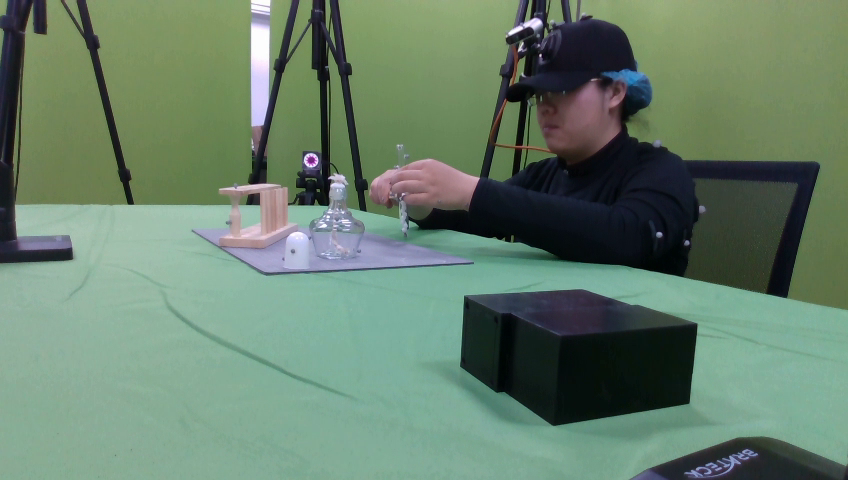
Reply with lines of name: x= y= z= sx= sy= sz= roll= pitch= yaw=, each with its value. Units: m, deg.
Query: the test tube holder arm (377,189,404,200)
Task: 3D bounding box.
test tube holder arm: x=-0.061 y=-0.080 z=1.080 sx=0.013 sy=0.015 sz=0.178 roll=10 pitch=-1 yaw=-17

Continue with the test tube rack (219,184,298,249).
test tube rack: x=-0.266 y=-0.046 z=1.001 sx=0.067 sy=0.085 sz=0.242 roll=3 pitch=7 yaw=0

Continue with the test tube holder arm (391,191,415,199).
test tube holder arm: x=-0.040 y=-0.078 z=1.040 sx=0.010 sy=0.015 sz=0.087 roll=9 pitch=-1 yaw=-29

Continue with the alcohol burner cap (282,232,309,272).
alcohol burner cap: x=-0.157 y=0.014 z=0.740 sx=0.034 sy=0.048 sz=0.034 roll=3 pitch=6 yaw=0

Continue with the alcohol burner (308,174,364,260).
alcohol burner: x=-0.121 y=-0.033 z=0.841 sx=0.078 sy=0.119 sz=0.078 roll=3 pitch=5 yaw=0

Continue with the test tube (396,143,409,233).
test tube: x=-0.035 y=-0.087 z=1.013 sx=0.017 sy=0.150 sz=0.017 roll=-2 pitch=8 yaw=1
